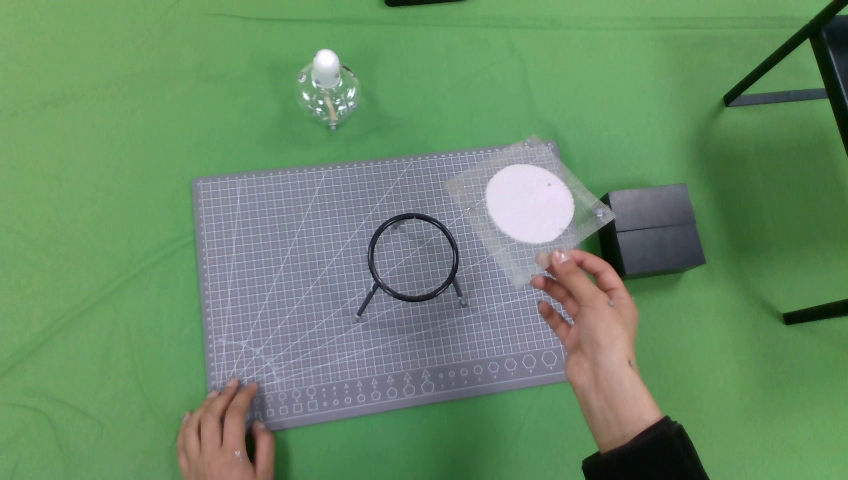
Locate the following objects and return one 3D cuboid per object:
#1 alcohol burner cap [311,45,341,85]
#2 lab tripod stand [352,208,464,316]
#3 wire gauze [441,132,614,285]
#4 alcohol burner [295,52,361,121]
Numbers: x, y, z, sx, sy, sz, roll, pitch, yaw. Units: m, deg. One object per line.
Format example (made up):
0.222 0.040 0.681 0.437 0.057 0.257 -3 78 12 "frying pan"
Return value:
-0.108 -0.195 0.670 0.034 0.048 0.033 2 80 -10 "alcohol burner cap"
-0.015 0.028 0.648 0.149 0.132 0.147 2 74 -8 "lab tripod stand"
0.097 -0.037 0.571 0.121 0.011 0.124 -31 71 -18 "wire gauze"
-0.111 -0.187 0.704 0.078 0.119 0.077 2 76 -8 "alcohol burner"
